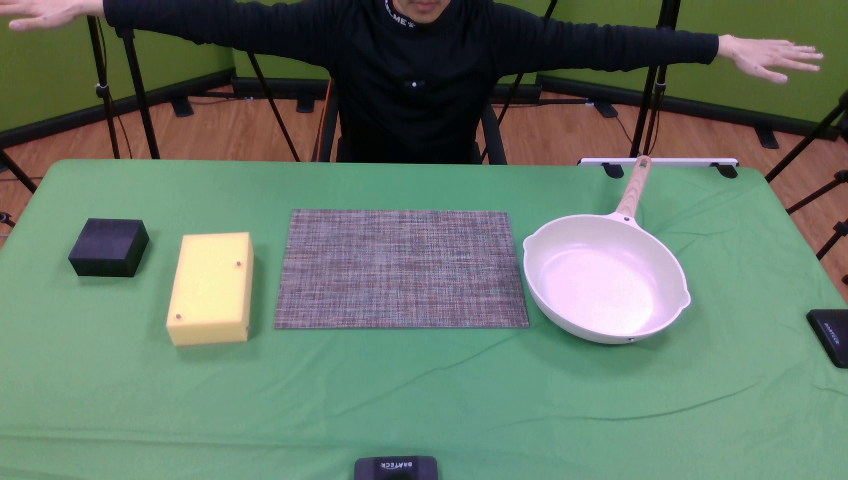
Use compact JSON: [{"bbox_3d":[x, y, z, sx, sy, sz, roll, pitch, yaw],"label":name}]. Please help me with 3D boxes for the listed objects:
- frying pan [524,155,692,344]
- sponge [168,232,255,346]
[{"bbox_3d":[0.372,-0.002,1.167,0.306,0.103,0.486,22,57,16],"label":"frying pan"},{"bbox_3d":[-0.368,0.081,1.065,0.118,0.061,0.205,-4,46,-7],"label":"sponge"}]
